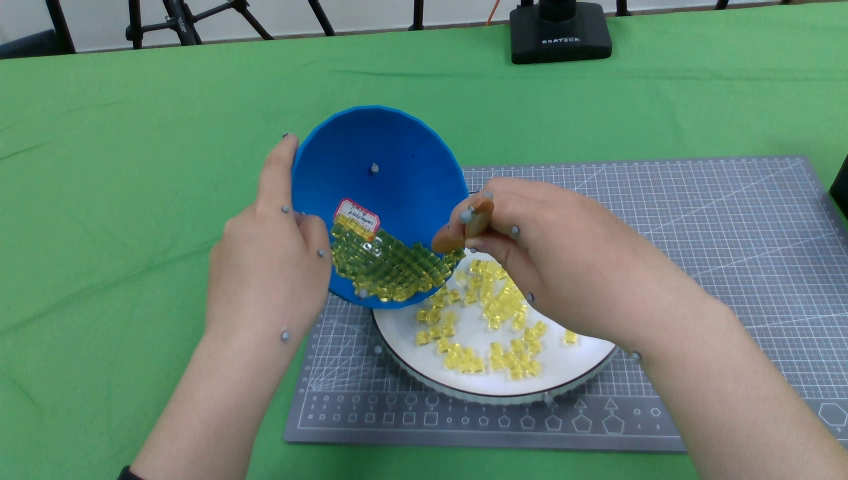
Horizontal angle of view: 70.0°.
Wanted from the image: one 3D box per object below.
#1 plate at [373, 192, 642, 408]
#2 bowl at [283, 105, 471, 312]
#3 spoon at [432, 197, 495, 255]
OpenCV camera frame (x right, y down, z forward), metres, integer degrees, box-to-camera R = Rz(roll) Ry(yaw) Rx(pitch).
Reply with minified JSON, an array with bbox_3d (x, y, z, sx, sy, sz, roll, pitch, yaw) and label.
[{"bbox_3d":[0.064,0.044,0.487,0.207,0.039,0.205,-4,47,5],"label":"plate"},{"bbox_3d":[-0.045,-0.020,0.470,0.151,0.152,0.076,-43,17,-28],"label":"bowl"},{"bbox_3d":[0.028,-0.006,0.374,0.041,0.194,0.021,-22,88,-4],"label":"spoon"}]
